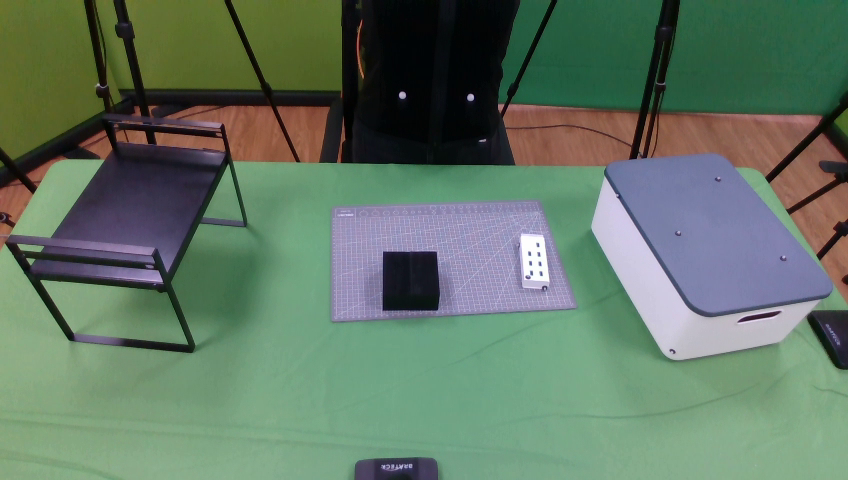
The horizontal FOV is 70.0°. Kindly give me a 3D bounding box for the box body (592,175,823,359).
[{"bbox_3d":[0.496,0.023,1.112,0.254,0.161,0.361,-8,47,-10],"label":"box body"}]

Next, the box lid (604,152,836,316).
[{"bbox_3d":[0.499,-0.029,1.059,0.264,0.015,0.369,-7,47,-11],"label":"box lid"}]

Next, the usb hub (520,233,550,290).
[{"bbox_3d":[0.212,0.039,1.168,0.049,0.025,0.124,4,45,1],"label":"usb hub"}]
